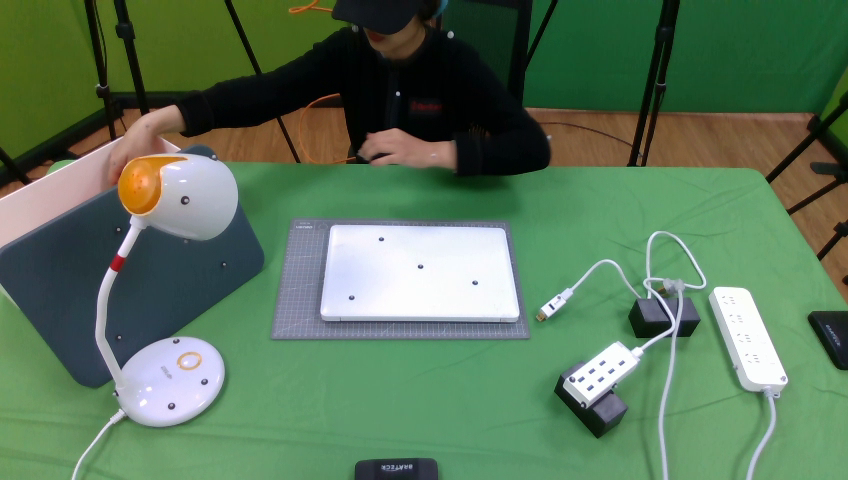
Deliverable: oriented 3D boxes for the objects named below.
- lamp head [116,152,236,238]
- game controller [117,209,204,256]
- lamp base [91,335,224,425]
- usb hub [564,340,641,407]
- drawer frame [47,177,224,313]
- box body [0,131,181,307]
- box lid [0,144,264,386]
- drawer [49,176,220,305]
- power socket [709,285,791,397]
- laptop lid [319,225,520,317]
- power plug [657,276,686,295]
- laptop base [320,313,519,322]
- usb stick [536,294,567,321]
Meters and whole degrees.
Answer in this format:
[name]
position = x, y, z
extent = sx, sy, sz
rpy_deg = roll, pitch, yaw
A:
[lamp head]
position = -0.315, -0.057, 0.748
extent = 0.112, 0.112, 0.123
rpy_deg = 26, 10, 20
[game controller]
position = -0.501, -0.020, 1.144
extent = 0.155, 0.052, 0.097
rpy_deg = 26, 22, 17
[lamp base]
position = -0.401, 0.170, 0.892
extent = 0.160, 0.181, 0.179
rpy_deg = 30, 53, 23
[usb hub]
position = 0.278, 0.205, 0.944
extent = 0.125, 0.025, 0.049
rpy_deg = -27, 52, -28
[drawer frame]
position = -0.518, 0.002, 1.107
extent = 0.201, 0.083, 0.213
rpy_deg = 26, 51, 19
[box body]
position = -0.550, -0.007, 1.068
extent = 0.253, 0.161, 0.363
rpy_deg = 30, 51, 23
[box lid]
position = -0.443, 0.032, 0.979
extent = 0.015, 0.264, 0.371
rpy_deg = 13, 42, 41
[drawer]
position = -0.522, -0.005, 1.108
extent = 0.194, 0.073, 0.211
rpy_deg = 28, 51, 21
[power socket]
position = 0.567, 0.168, 1.064
extent = 0.072, 0.033, 0.225
rpy_deg = 2, 46, 0
[laptop lid]
position = -0.008, 0.052, 1.131
extent = 0.357, 0.013, 0.240
rpy_deg = 2, 44, -2
[power plug]
position = 0.450, 0.087, 1.113
extent = 0.073, 0.052, 0.035
rpy_deg = -13, 72, -55
[laptop base]
position = -0.009, 0.062, 1.138
extent = 0.354, 0.023, 0.234
rpy_deg = 1, 42, -3
[usb stick]
position = 0.226, 0.123, 1.083
extent = 0.059, 0.027, 0.021
rpy_deg = -37, 78, -8
